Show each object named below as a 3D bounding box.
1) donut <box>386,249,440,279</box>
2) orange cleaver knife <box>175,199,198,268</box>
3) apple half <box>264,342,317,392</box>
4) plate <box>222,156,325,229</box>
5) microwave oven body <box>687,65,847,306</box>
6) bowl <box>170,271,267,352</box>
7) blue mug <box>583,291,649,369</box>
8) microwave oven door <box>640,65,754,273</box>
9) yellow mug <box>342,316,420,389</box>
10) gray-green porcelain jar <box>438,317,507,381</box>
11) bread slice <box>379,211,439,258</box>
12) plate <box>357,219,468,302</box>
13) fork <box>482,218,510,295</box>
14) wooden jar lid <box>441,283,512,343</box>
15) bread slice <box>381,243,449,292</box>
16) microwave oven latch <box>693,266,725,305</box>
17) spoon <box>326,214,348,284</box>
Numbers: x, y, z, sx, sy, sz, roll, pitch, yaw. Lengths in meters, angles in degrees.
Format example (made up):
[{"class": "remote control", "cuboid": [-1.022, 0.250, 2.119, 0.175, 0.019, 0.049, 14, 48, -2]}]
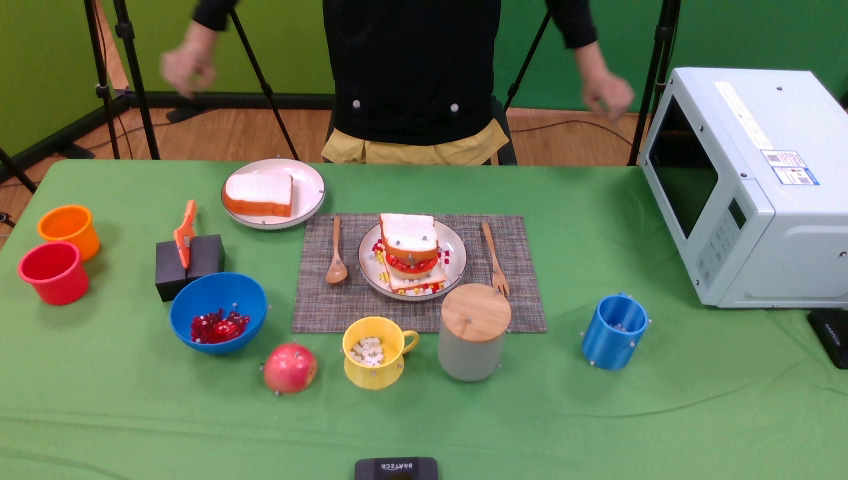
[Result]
[{"class": "donut", "cuboid": [-0.021, 0.029, 1.110, 0.099, 0.048, 0.098, 2, 46, -2]}, {"class": "orange cleaver knife", "cuboid": [-0.438, -0.017, 1.138, 0.012, 0.077, 0.210, -14, 27, -6]}, {"class": "apple half", "cuboid": [-0.214, 0.198, 0.970, 0.074, 0.053, 0.080, 19, 48, 11]}, {"class": "plate", "cuboid": [-0.308, -0.095, 1.251, 0.209, 0.038, 0.208, 2, 46, -2]}, {"class": "microwave oven body", "cuboid": [0.669, -0.111, 1.176, 0.326, 0.261, 0.439, 0, 46, -3]}, {"class": "bowl", "cuboid": [-0.333, 0.132, 1.006, 0.151, 0.077, 0.150, 2, 46, -2]}, {"class": "blue mug", "cuboid": [0.324, 0.142, 1.023, 0.082, 0.106, 0.116, 15, 47, 11]}, {"class": "microwave oven door", "cuboid": [0.523, -0.147, 1.193, 0.039, 0.245, 0.353, 0, 47, -3]}, {"class": "yellow mug", "cuboid": [-0.067, 0.178, 0.990, 0.131, 0.064, 0.099, -16, 49, -19]}, {"class": "gray-green porcelain jar", "cuboid": [0.076, 0.158, 0.977, 0.106, 0.127, 0.105, 2, 47, -2]}, {"class": "bread slice", "cuboid": [-0.024, -0.012, 1.064, 0.105, 0.019, 0.130, 3, 33, -10]}, {"class": "plate", "cuboid": [-0.022, 0.037, 1.141, 0.208, 0.039, 0.206, 2, 46, -2]}, {"class": "fork", "cuboid": [0.136, 0.029, 1.172, 0.028, 0.019, 0.206, -10, 48, 2]}, {"class": "wooden jar lid", "cuboid": [0.080, 0.114, 0.931, 0.108, 0.021, 0.107, 1, 49, -1]}, {"class": "bread slice", "cuboid": [-0.027, 0.039, 1.139, 0.107, 0.018, 0.133, -12, 47, -16]}, {"class": "microwave oven latch", "cuboid": [0.523, 0.082, 1.115, 0.030, 0.029, 0.078, 2, 46, -1]}, {"class": "spoon", "cuboid": [-0.167, 0.013, 1.164, 0.041, 0.022, 0.192, -17, 47, 9]}]
